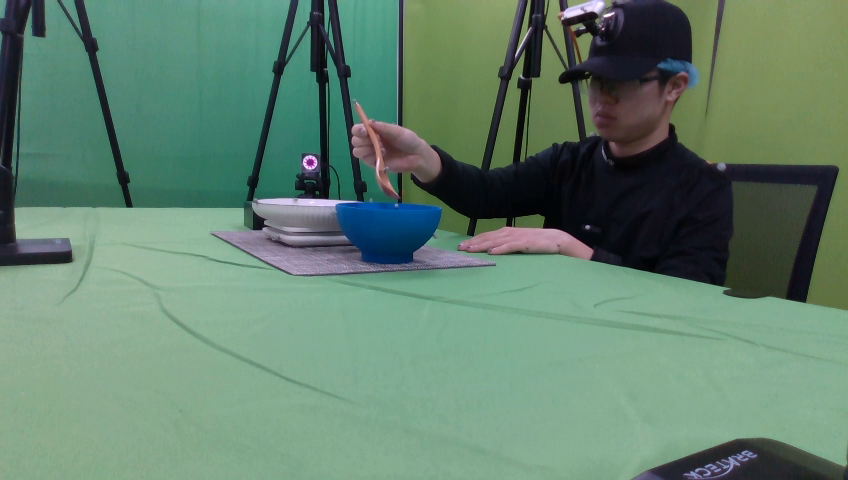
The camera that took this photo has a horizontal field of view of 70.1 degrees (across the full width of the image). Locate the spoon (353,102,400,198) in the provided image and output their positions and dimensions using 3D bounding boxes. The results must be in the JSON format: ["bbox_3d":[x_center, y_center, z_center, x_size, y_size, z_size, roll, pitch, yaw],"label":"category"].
[{"bbox_3d":[-0.073,-0.135,0.888,0.021,0.193,0.042,-29,-32,18],"label":"spoon"}]

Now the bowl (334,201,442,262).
[{"bbox_3d":[-0.051,-0.012,0.848,0.151,0.077,0.151,2,7,0],"label":"bowl"}]

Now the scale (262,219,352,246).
[{"bbox_3d":[-0.160,-0.015,1.028,0.202,0.031,0.148,-2,8,-32],"label":"scale"}]

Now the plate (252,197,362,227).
[{"bbox_3d":[-0.179,-0.047,1.012,0.209,0.038,0.209,2,6,0],"label":"plate"}]
